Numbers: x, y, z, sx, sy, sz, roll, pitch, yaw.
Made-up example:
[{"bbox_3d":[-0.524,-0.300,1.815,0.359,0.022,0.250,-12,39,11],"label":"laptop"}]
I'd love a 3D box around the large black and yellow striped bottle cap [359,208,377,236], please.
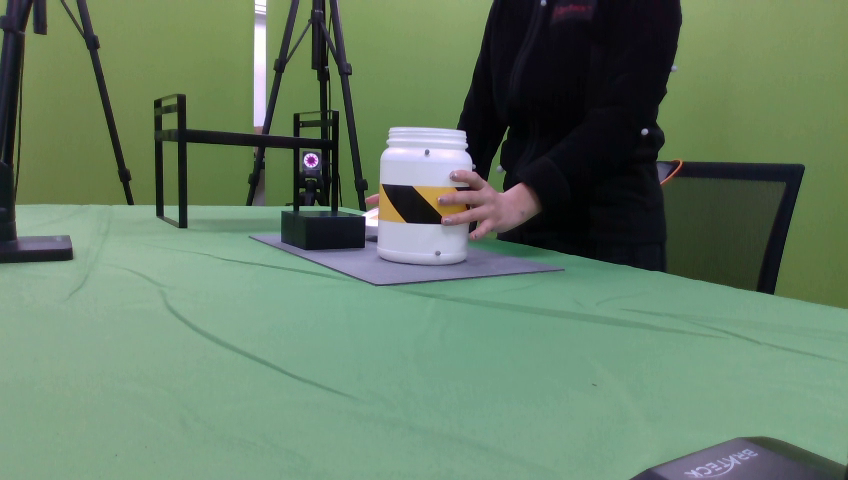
[{"bbox_3d":[-0.056,-0.037,1.053,0.115,0.019,0.115,-8,20,4],"label":"large black and yellow striped bottle cap"}]

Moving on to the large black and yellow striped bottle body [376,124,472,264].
[{"bbox_3d":[0.000,-0.066,0.851,0.131,0.184,0.130,2,7,0],"label":"large black and yellow striped bottle body"}]
